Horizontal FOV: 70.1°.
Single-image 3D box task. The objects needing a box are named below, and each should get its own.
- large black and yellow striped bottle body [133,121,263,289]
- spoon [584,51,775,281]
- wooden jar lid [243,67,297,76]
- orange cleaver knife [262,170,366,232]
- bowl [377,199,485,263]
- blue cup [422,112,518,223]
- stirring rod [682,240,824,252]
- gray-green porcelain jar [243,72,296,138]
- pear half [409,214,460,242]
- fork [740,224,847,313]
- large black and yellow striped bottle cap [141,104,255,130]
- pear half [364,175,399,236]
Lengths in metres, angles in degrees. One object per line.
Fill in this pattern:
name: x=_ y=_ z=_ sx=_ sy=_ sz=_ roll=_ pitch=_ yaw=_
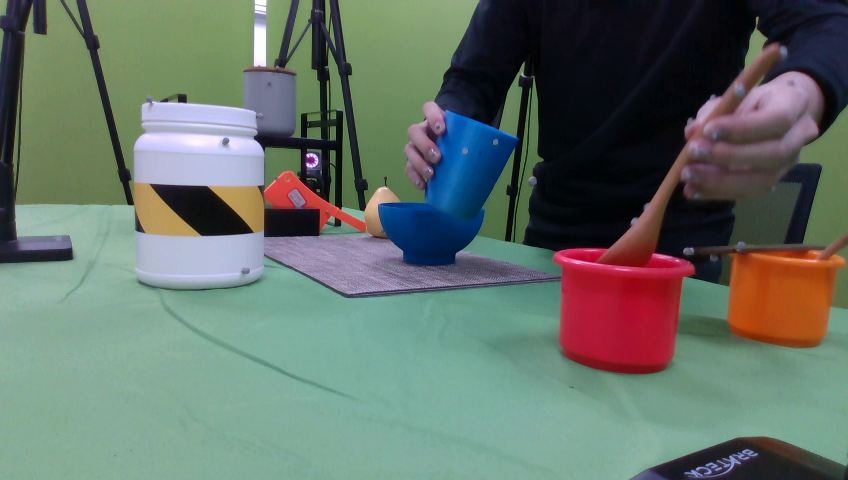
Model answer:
large black and yellow striped bottle body: x=-0.243 y=-0.048 z=0.659 sx=0.131 sy=0.184 sz=0.130 roll=2 pitch=7 yaw=0
spoon: x=0.165 y=-0.039 z=0.406 sx=0.042 sy=0.193 sz=0.021 roll=8 pitch=35 yaw=-23
wooden jar lid: x=-0.319 y=-0.342 z=1.254 sx=0.108 sy=0.020 sz=0.108 roll=3 pitch=8 yaw=0
orange cleaver knife: x=-0.201 y=-0.056 z=1.136 sx=0.212 sy=0.077 sz=0.012 roll=31 pitch=-4 yaw=-31
bowl: x=0.008 y=-0.013 z=0.842 sx=0.151 sy=0.077 sz=0.151 roll=2 pitch=8 yaw=0
blue cup: x=0.043 y=-0.075 z=0.654 sx=0.093 sy=0.100 sz=0.092 roll=21 pitch=7 yaw=-2
stirring rod: x=0.290 y=0.005 z=0.525 sx=0.177 sy=0.006 sz=0.014 roll=-1 pitch=5 yaw=-26
gray-green porcelain jar: x=-0.322 y=-0.279 z=1.263 sx=0.106 sy=0.126 sz=0.106 roll=3 pitch=8 yaw=0
pear half: x=0.012 y=-0.019 z=0.848 sx=0.070 sy=0.031 sz=0.088 roll=4 pitch=12 yaw=33
fork: x=0.323 y=0.013 z=0.485 sx=0.028 sy=0.018 sz=0.207 roll=9 pitch=-37 yaw=-5
large black and yellow striped bottle cap: x=-0.241 y=-0.131 z=0.650 sx=0.115 sy=0.019 sz=0.115 roll=3 pitch=8 yaw=0
pear half: x=-0.064 y=-0.061 z=1.077 sx=0.055 sy=0.110 sz=0.077 roll=9 pitch=14 yaw=39
